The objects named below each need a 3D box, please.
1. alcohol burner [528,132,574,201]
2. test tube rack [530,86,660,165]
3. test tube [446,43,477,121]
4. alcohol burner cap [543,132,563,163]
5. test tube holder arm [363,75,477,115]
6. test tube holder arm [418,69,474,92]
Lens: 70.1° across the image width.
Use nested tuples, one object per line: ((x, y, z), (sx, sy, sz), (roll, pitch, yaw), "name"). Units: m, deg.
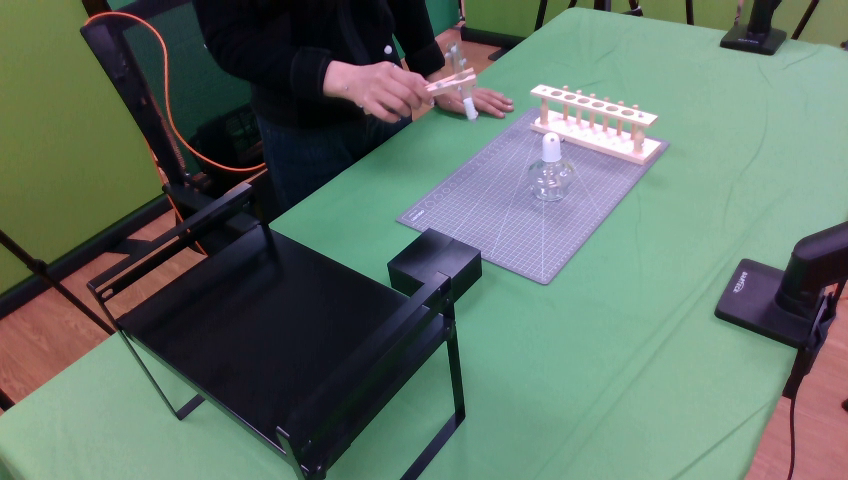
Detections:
((0.214, -0.126, 1.016), (0.078, 0.119, 0.077), (-5, 38, 5), "alcohol burner")
((0.320, -0.226, 1.140), (0.240, 0.085, 0.067), (27, 51, 34), "test tube rack")
((0.058, -0.237, 0.920), (0.017, 0.151, 0.017), (-9, 55, 13), "test tube")
((0.211, -0.154, 0.994), (0.034, 0.048, 0.033), (-7, 35, 6), "alcohol burner cap")
((-0.008, -0.220, 0.922), (0.178, 0.015, 0.013), (-15, 53, 9), "test tube holder arm")
((0.034, -0.238, 0.919), (0.088, 0.015, 0.010), (-21, 53, 4), "test tube holder arm")
